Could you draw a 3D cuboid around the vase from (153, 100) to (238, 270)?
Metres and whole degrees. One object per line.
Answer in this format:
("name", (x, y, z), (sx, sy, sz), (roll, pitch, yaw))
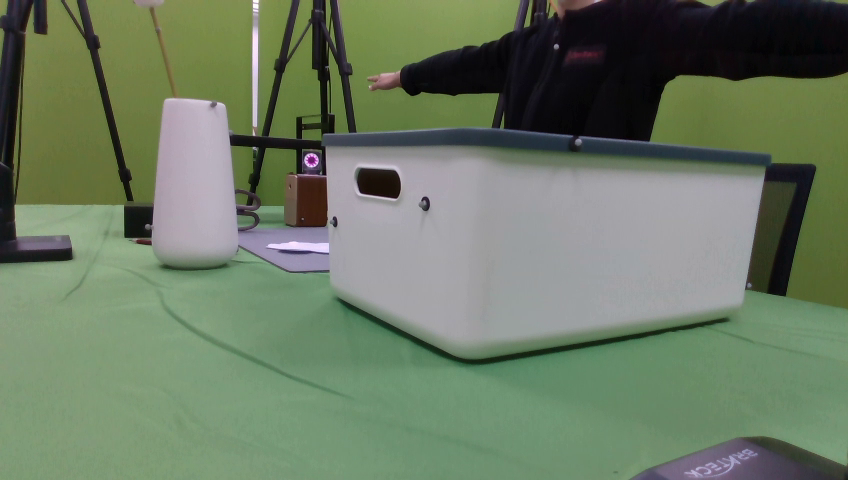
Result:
("vase", (-0.278, -0.066, 0.736), (0.098, 0.200, 0.098), (2, 9, 0))

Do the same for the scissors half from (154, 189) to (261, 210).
("scissors half", (-0.373, -0.066, 1.049), (0.176, 0.040, 0.012), (-6, 12, -27))

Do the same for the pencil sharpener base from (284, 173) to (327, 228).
("pencil sharpener base", (-0.239, -0.081, 1.231), (0.077, 0.107, 0.061), (-2, 8, -36))

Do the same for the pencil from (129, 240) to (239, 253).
("pencil", (-0.350, 0.008, 0.874), (0.193, 0.012, 0.012), (4, 7, 19))

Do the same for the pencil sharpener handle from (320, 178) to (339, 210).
("pencil sharpener handle", (-0.194, -0.095, 1.256), (0.031, 0.067, 0.036), (-2, -6, -36))

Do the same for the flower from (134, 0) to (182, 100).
("flower", (-0.282, -0.146, 0.712), (0.038, 0.362, 0.044), (-23, 24, -31))

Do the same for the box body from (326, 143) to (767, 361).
("box body", (0.111, -0.011, 0.584), (0.366, 0.160, 0.253), (-2, 9, -33))

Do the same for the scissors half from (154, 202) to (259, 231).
("scissors half", (-0.375, -0.046, 1.051), (0.176, 0.040, 0.013), (13, -2, -28))

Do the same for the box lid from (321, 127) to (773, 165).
("box lid", (0.113, -0.084, 0.573), (0.373, 0.015, 0.262), (-2, 8, -33))
